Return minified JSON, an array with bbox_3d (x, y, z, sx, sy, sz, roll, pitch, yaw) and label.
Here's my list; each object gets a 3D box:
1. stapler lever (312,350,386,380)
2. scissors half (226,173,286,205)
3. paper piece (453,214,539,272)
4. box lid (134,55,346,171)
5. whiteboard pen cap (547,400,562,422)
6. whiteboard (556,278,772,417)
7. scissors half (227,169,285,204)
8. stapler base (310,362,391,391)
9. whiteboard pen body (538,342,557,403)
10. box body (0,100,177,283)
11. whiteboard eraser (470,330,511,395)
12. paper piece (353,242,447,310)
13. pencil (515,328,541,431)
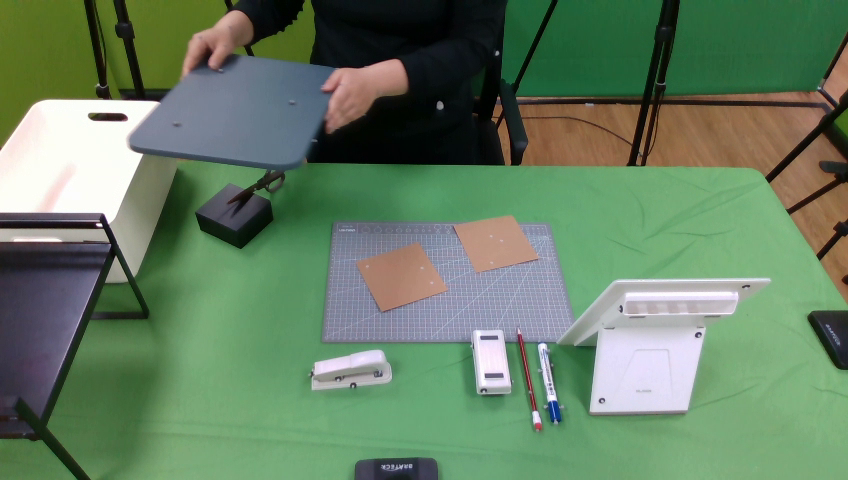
[{"bbox_3d":[-0.120,0.198,0.963,0.118,0.040,0.026,-4,44,-8],"label":"stapler lever"},{"bbox_3d":[-0.339,-0.102,1.230,0.013,0.040,0.175,27,31,15],"label":"scissors half"},{"bbox_3d":[0.142,0.003,1.213,0.135,0.004,0.135,-11,48,-14],"label":"paper piece"},{"bbox_3d":[-0.289,-0.225,1.020,0.263,0.015,0.369,6,38,0],"label":"box lid"},{"bbox_3d":[0.205,0.269,0.956,0.018,0.018,0.033,0,47,-5],"label":"whiteboard pen cap"},{"bbox_3d":[0.347,0.174,0.903,0.217,0.306,0.143,1,65,-4],"label":"whiteboard"},{"bbox_3d":[-0.334,-0.116,1.218,0.013,0.040,0.175,31,48,11],"label":"scissors half"},{"bbox_3d":[-0.119,0.215,0.980,0.131,0.024,0.041,-5,44,-7],"label":"stapler base"},{"bbox_3d":[0.205,0.228,0.997,0.017,0.017,0.140,1,46,-3],"label":"whiteboard pen body"},{"bbox_3d":[-0.640,-0.095,1.140,0.254,0.161,0.361,0,46,-4],"label":"box body"},{"bbox_3d":[0.110,0.202,0.998,0.055,0.042,0.112,1,46,-5],"label":"whiteboard eraser"},{"bbox_3d":[-0.045,0.066,1.137,0.136,0.009,0.137,-14,47,-22],"label":"paper piece"},{"bbox_3d":[0.169,0.224,1.002,0.012,0.012,0.192,-1,46,-6],"label":"pencil"}]
